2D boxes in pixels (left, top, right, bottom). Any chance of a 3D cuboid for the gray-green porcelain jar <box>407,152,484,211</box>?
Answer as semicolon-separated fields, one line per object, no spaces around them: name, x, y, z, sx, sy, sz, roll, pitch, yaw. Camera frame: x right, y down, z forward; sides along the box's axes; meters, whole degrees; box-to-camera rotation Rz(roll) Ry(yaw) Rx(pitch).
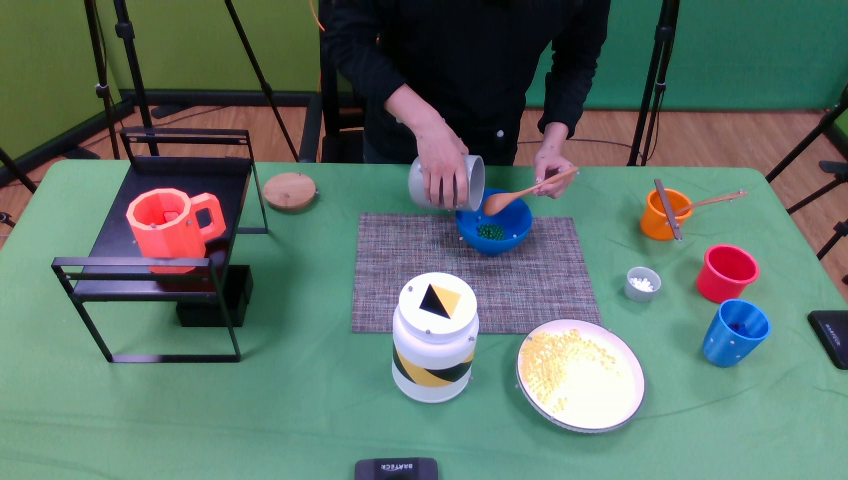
gray-green porcelain jar;0.039;-0.111;1.140;0.126;0.106;0.105;6;44;20

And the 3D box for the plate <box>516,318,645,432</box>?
plate;0.253;0.221;0.992;0.209;0.038;0.208;2;46;-2

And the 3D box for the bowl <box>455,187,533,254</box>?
bowl;0.131;-0.025;1.186;0.151;0.077;0.150;2;46;-2

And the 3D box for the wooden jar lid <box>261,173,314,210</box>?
wooden jar lid;-0.286;-0.101;1.273;0.108;0.021;0.107;3;45;-3

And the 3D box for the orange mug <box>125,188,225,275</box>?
orange mug;-0.357;-0.020;0.884;0.126;0.101;0.083;-29;54;-23

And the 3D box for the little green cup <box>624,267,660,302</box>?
little green cup;0.406;0.084;1.135;0.061;0.039;0.061;3;45;-3

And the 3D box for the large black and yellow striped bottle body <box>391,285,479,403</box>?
large black and yellow striped bottle body;0.015;0.153;0.938;0.131;0.185;0.130;2;46;-2

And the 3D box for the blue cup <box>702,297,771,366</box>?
blue cup;0.519;0.162;1.025;0.093;0.101;0.092;3;45;-3

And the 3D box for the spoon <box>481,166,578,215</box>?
spoon;0.193;-0.095;1.124;0.194;0.022;0.041;-23;62;13

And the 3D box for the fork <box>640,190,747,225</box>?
fork;0.533;-0.065;1.211;0.207;0.019;0.028;-22;28;39

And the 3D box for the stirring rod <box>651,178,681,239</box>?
stirring rod;0.480;-0.065;1.204;0.014;0.006;0.175;3;46;-3

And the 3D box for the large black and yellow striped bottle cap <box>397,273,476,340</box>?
large black and yellow striped bottle cap;0.018;0.094;0.878;0.115;0.019;0.114;3;46;-3
